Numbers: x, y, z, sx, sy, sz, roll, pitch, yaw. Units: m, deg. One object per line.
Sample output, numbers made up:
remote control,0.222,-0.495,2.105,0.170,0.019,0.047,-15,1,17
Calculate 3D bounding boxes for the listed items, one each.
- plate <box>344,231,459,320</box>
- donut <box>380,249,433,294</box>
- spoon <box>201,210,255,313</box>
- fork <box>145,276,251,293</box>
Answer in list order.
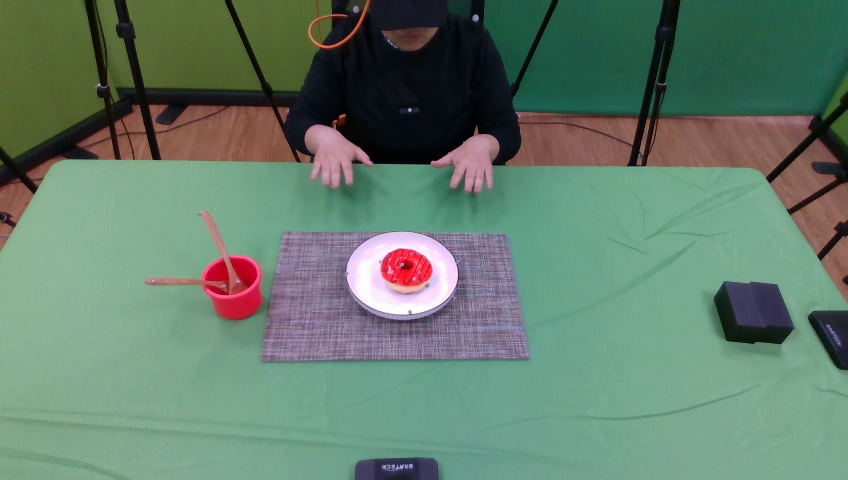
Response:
plate,-0.042,0.067,1.115,0.209,0.038,0.208,2,46,-2
donut,-0.032,0.056,1.111,0.099,0.048,0.098,4,43,-3
spoon,-0.343,0.037,1.052,0.041,0.021,0.194,-23,96,-32
fork,-0.368,0.073,1.006,0.018,0.208,0.028,-24,72,23
